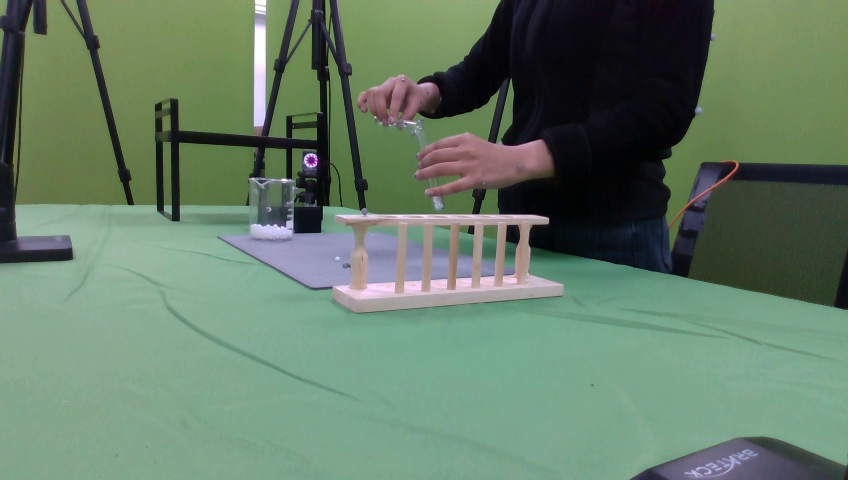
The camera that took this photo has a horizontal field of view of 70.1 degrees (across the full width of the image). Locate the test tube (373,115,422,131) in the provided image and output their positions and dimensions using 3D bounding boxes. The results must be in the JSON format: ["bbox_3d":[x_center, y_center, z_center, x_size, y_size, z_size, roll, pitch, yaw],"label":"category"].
[{"bbox_3d":[-0.046,-0.191,0.977,0.017,0.017,0.149,-2,15,-31],"label":"test tube"}]

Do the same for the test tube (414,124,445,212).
[{"bbox_3d":[0.008,-0.106,0.884,0.017,0.150,0.017,-11,-26,-5],"label":"test tube"}]

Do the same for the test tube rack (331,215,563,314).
[{"bbox_3d":[0.031,0.019,0.625,0.243,0.085,0.066,-1,8,-28],"label":"test tube rack"}]

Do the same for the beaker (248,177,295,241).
[{"bbox_3d":[-0.252,-0.051,0.992,0.074,0.100,0.084,3,9,6],"label":"beaker"}]
